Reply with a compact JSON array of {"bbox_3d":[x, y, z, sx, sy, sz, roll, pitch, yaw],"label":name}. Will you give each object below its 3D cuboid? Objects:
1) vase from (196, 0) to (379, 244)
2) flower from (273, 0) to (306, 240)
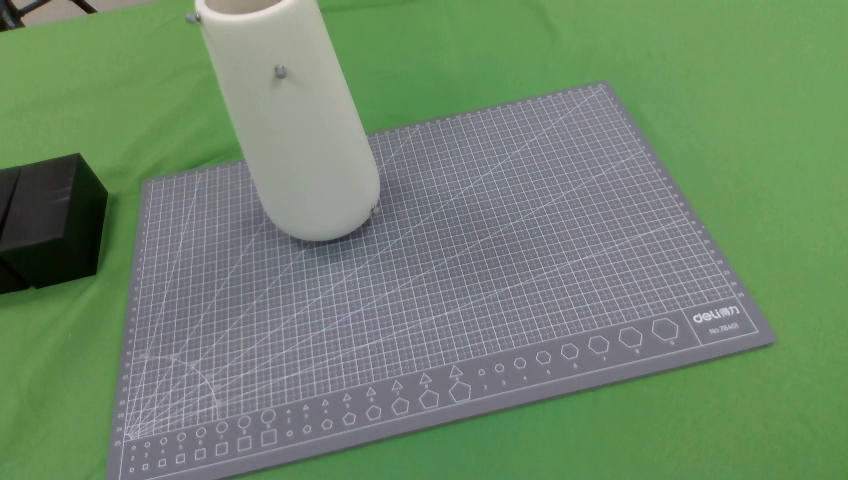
[{"bbox_3d":[-0.095,-0.087,0.443,0.098,0.202,0.097,-4,50,6],"label":"vase"},{"bbox_3d":[-0.092,-0.150,0.385,0.044,0.364,0.038,12,37,13],"label":"flower"}]
